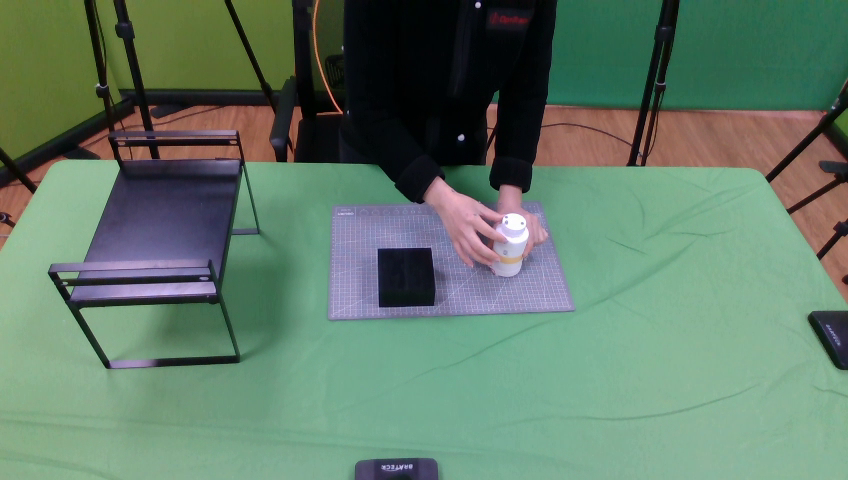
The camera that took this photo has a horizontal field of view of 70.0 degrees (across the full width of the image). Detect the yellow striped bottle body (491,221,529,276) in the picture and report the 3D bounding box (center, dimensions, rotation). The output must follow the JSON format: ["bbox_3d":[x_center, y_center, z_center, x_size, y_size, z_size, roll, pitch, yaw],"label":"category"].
[{"bbox_3d":[0.161,0.007,1.129,0.063,0.121,0.062,1,46,0],"label":"yellow striped bottle body"}]

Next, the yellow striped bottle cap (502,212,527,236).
[{"bbox_3d":[0.163,-0.029,1.090,0.044,0.019,0.044,2,48,-2],"label":"yellow striped bottle cap"}]
